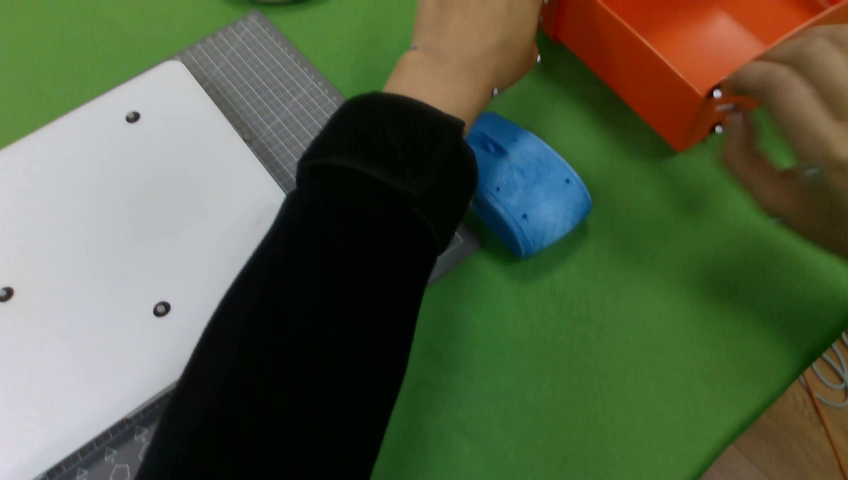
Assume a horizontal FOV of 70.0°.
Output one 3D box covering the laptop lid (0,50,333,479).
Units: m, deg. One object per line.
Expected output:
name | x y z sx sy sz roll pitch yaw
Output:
laptop lid | -0.262 0.030 0.382 0.357 0.013 0.239 -34 68 -13

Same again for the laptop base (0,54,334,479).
laptop base | -0.263 0.034 0.394 0.354 0.023 0.233 -35 70 -13

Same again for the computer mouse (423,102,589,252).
computer mouse | 0.052 -0.048 0.404 0.063 0.041 0.116 -35 62 -11

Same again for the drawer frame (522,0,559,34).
drawer frame | 0.131 -0.296 0.499 0.202 0.083 0.211 -29 64 -10

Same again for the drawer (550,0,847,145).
drawer | 0.198 -0.199 0.446 0.194 0.074 0.210 -31 65 -10
